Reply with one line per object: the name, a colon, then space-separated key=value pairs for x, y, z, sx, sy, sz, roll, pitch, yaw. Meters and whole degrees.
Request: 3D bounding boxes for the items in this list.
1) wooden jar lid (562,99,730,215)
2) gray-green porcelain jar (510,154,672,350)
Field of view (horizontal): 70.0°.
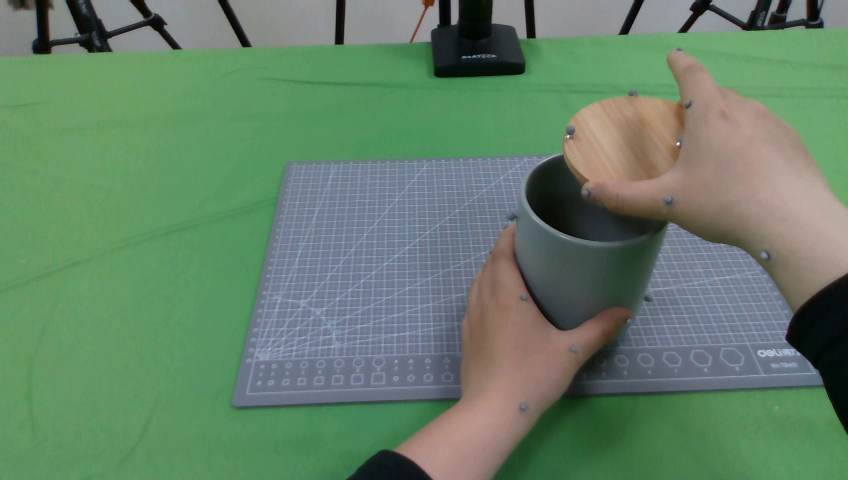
wooden jar lid: x=0.147 y=-0.056 z=0.410 sx=0.108 sy=0.021 sz=0.107 roll=-1 pitch=48 yaw=2
gray-green porcelain jar: x=0.121 y=0.014 z=0.465 sx=0.106 sy=0.127 sz=0.105 roll=-1 pitch=45 yaw=1
